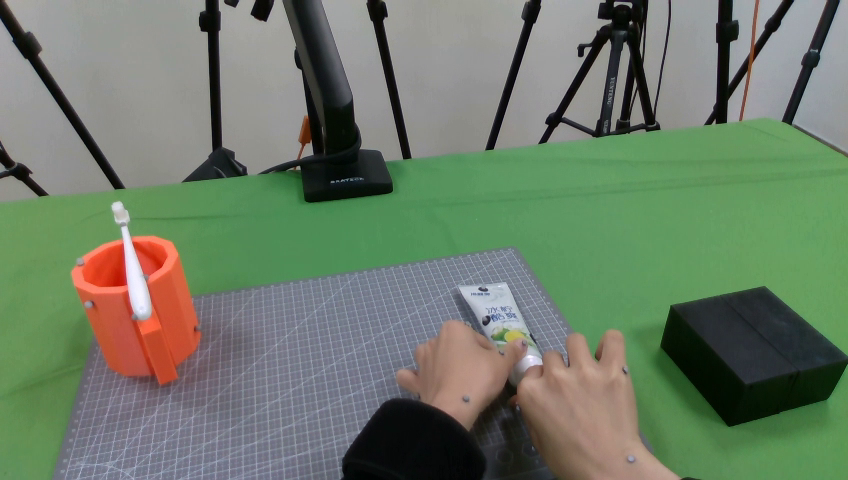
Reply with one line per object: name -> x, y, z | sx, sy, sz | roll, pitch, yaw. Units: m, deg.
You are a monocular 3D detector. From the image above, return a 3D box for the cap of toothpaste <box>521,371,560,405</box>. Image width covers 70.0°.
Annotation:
cap of toothpaste -> 0.095, 0.121, 0.500 | 0.037, 0.037, 0.011 | -15, 41, -19

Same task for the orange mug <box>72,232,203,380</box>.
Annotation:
orange mug -> -0.246, 0.062, 0.537 | 0.083, 0.101, 0.125 | -20, 35, -26

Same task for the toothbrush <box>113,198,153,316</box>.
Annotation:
toothbrush -> -0.252, 0.009, 0.522 | 0.014, 0.017, 0.180 | -14, 36, -25

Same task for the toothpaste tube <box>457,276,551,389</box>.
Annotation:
toothpaste tube -> 0.079, 0.081, 0.569 | 0.055, 0.035, 0.163 | 1, 30, -15
